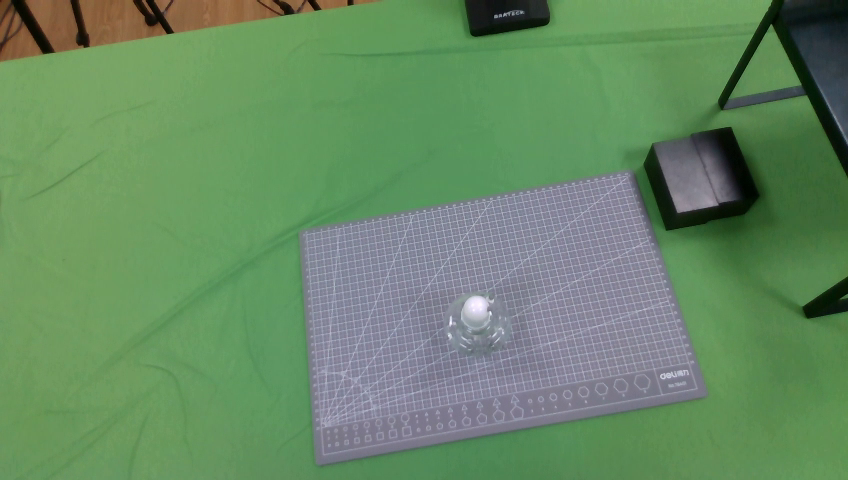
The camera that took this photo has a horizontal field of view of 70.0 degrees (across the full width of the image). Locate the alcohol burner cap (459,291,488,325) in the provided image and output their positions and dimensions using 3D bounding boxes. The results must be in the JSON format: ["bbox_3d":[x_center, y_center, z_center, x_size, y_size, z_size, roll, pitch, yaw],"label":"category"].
[{"bbox_3d":[0.054,0.071,0.648,0.034,0.048,0.033,0,71,1],"label":"alcohol burner cap"}]

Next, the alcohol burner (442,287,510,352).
[{"bbox_3d":[0.058,0.085,0.681,0.078,0.120,0.077,-2,68,6],"label":"alcohol burner"}]
